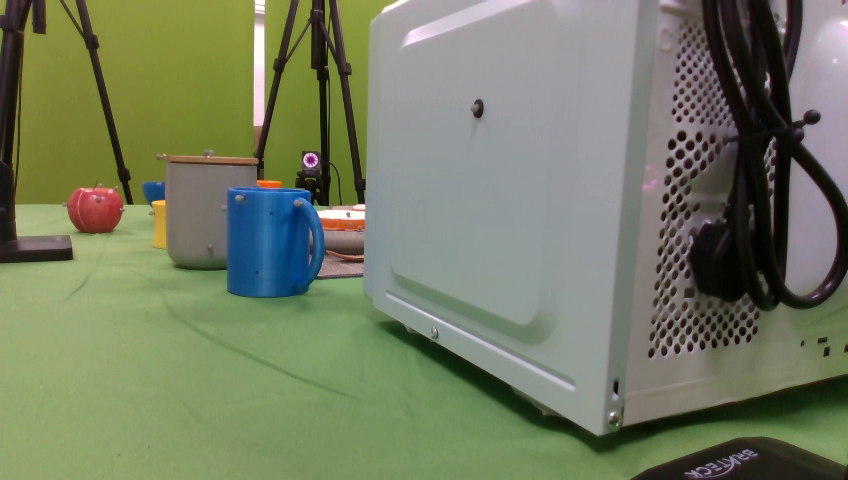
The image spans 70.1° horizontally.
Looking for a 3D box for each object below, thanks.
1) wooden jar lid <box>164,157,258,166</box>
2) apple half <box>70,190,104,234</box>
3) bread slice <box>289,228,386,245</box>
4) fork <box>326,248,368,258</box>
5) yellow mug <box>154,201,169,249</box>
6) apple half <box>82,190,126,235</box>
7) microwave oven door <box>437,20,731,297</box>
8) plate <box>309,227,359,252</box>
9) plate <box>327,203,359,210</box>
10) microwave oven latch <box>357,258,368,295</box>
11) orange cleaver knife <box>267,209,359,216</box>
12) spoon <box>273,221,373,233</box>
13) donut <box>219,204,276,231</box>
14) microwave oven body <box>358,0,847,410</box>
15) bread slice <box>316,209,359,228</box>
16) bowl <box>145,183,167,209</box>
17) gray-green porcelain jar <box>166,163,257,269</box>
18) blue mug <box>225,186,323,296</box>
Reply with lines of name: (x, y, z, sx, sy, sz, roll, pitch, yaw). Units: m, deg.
wooden jar lid: (-0.261, -0.093, 0.746, 0.108, 0.020, 0.108, 0, 9, 0)
apple half: (-0.552, -0.047, 1.010, 0.053, 0.074, 0.081, 0, 9, 26)
bread slice: (-0.125, -0.007, 0.938, 0.131, 0.019, 0.105, 3, 6, 31)
fork: (-0.032, 0.015, 0.835, 0.208, 0.018, 0.028, -3, 0, -24)
yellow mug: (-0.338, -0.022, 0.899, 0.130, 0.064, 0.100, 8, 9, 34)
apple half: (-0.517, -0.046, 0.994, 0.032, 0.081, 0.081, 0, 6, 26)
microwave oven door: (0.181, -0.076, 0.618, 0.358, 0.243, 0.039, -2, 9, -28)
plate: (-0.130, -0.011, 0.945, 0.208, 0.039, 0.207, 2, 7, 0)
plate: (-0.102, -0.053, 1.299, 0.209, 0.038, 0.209, 2, 8, 0)
microwave oven latch: (-0.019, 0.031, 0.529, 0.079, 0.029, 0.030, -1, 7, -26)
orange cleaver knife: (-0.259, -0.064, 1.423, 0.212, 0.012, 0.077, -4, 3, -30)
spoon: (-0.180, -0.027, 1.109, 0.195, 0.021, 0.041, -4, -15, -33)
donut: (-0.316, -0.039, 1.083, 0.099, 0.048, 0.099, 2, 7, 0)
microwave oven body: (0.210, -0.051, 0.471, 0.444, 0.260, 0.324, -1, 7, -28)
bread slice: (-0.127, -0.034, 0.933, 0.134, 0.018, 0.107, 3, 10, 28)
bowl: (-0.459, -0.068, 1.175, 0.151, 0.077, 0.151, 3, 7, 0)
gray-green porcelain jar: (-0.263, -0.031, 0.754, 0.106, 0.126, 0.106, 2, 7, 0)
blue mug: (-0.148, 0.000, 0.618, 0.116, 0.106, 0.083, 7, 9, 33)
